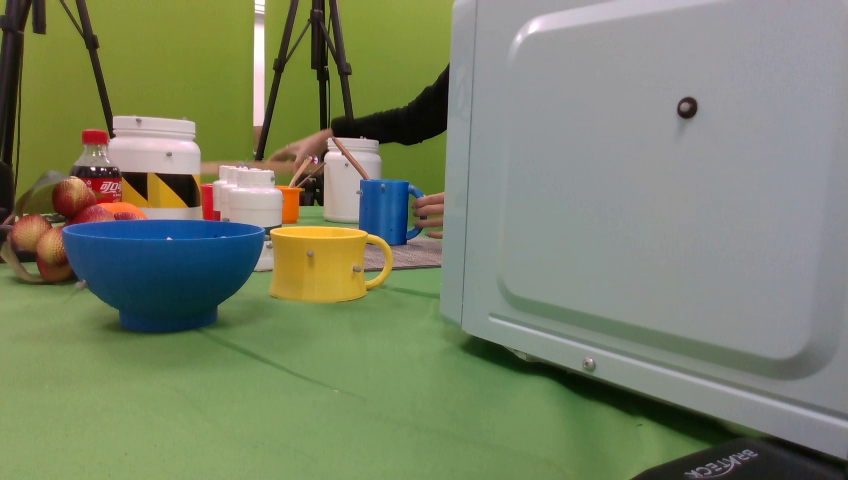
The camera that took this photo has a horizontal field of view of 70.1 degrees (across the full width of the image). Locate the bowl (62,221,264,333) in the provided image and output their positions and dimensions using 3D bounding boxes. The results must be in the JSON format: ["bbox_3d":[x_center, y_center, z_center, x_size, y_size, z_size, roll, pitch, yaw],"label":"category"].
[{"bbox_3d":[-0.209,0.029,0.496,0.151,0.077,0.151,2,7,0],"label":"bowl"}]

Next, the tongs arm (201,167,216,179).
[{"bbox_3d":[-0.376,-0.168,1.489,0.390,0.028,0.028,-7,4,-37],"label":"tongs arm"}]

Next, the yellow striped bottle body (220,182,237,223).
[{"bbox_3d":[-0.246,-0.036,0.825,0.063,0.120,0.063,3,8,0],"label":"yellow striped bottle body"}]

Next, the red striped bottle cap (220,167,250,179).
[{"bbox_3d":[-0.281,-0.099,0.901,0.044,0.017,0.044,-1,5,0],"label":"red striped bottle cap"}]

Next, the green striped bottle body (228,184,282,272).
[{"bbox_3d":[-0.208,-0.024,0.745,0.063,0.119,0.063,2,6,0],"label":"green striped bottle body"}]

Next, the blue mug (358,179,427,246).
[{"bbox_3d":[-0.052,-0.046,1.007,0.116,0.106,0.082,4,8,8],"label":"blue mug"}]

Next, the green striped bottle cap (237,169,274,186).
[{"bbox_3d":[-0.205,-0.075,0.737,0.044,0.020,0.044,2,4,0],"label":"green striped bottle cap"}]

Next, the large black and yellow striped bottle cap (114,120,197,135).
[{"bbox_3d":[-0.407,-0.171,0.920,0.115,0.019,0.115,2,9,0],"label":"large black and yellow striped bottle cap"}]

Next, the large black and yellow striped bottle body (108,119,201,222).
[{"bbox_3d":[-0.412,-0.088,0.930,0.131,0.184,0.130,3,7,0],"label":"large black and yellow striped bottle body"}]

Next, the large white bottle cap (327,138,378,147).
[{"bbox_3d":[-0.160,-0.218,1.357,0.115,0.018,0.115,2,7,0],"label":"large white bottle cap"}]

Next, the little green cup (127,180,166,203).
[{"bbox_3d":[-0.486,-0.086,1.061,0.061,0.038,0.061,1,8,0],"label":"little green cup"}]

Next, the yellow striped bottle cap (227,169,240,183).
[{"bbox_3d":[-0.243,-0.087,0.818,0.044,0.018,0.044,3,6,0],"label":"yellow striped bottle cap"}]

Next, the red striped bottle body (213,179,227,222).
[{"bbox_3d":[-0.284,-0.048,0.909,0.063,0.119,0.063,3,10,0],"label":"red striped bottle body"}]

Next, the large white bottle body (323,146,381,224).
[{"bbox_3d":[-0.163,-0.134,1.369,0.131,0.184,0.130,2,7,0],"label":"large white bottle body"}]

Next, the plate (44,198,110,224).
[{"bbox_3d":[-0.617,-0.056,1.179,0.209,0.038,0.209,3,7,0],"label":"plate"}]

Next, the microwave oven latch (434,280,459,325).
[{"bbox_3d":[0.044,0.045,0.470,0.079,0.029,0.030,-2,8,-39],"label":"microwave oven latch"}]

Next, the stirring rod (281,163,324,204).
[{"bbox_3d":[-0.278,-0.105,1.293,0.176,0.006,0.014,-46,24,-18],"label":"stirring rod"}]

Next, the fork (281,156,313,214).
[{"bbox_3d":[-0.289,-0.116,1.320,0.028,0.019,0.207,-1,48,27],"label":"fork"}]

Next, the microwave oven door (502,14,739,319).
[{"bbox_3d":[0.217,-0.065,0.601,0.358,0.243,0.039,-4,10,-41],"label":"microwave oven door"}]

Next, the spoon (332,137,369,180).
[{"bbox_3d":[-0.095,-0.092,1.011,0.021,0.193,0.041,-31,4,16],"label":"spoon"}]

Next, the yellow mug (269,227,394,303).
[{"bbox_3d":[-0.094,0.023,0.629,0.131,0.064,0.099,0,7,-22],"label":"yellow mug"}]

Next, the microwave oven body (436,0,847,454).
[{"bbox_3d":[0.279,-0.040,0.464,0.444,0.260,0.324,-3,9,-41],"label":"microwave oven body"}]

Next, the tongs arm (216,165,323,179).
[{"bbox_3d":[-0.326,-0.163,1.439,0.050,0.026,0.387,3,8,43],"label":"tongs arm"}]
